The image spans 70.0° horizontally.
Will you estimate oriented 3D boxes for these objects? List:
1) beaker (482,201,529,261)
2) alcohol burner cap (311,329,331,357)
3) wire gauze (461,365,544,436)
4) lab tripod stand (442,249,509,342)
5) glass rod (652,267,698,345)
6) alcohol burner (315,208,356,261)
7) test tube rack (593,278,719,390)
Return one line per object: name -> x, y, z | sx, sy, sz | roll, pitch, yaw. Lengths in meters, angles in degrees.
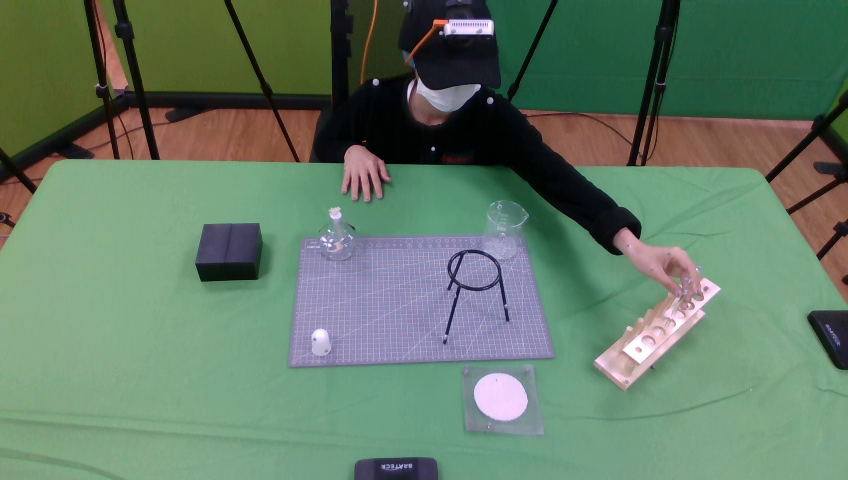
beaker -> 0.153, -0.015, 1.169 | 0.084, 0.101, 0.073 | -2, 46, -7
alcohol burner cap -> -0.173, 0.168, 1.004 | 0.034, 0.048, 0.033 | 2, 46, -2
wire gauze -> 0.124, 0.254, 0.973 | 0.125, 0.011, 0.120 | 3, 47, -3
lab tripod stand -> 0.082, 0.091, 1.036 | 0.148, 0.132, 0.147 | 3, 44, -3
glass rod -> 0.404, 0.114, 0.983 | 0.008, 0.200, 0.008 | 3, 44, -3
alcohol burner -> -0.166, -0.017, 1.135 | 0.078, 0.120, 0.077 | 2, 48, -2
test tube rack -> 0.401, 0.148, 1.043 | 0.242, 0.085, 0.066 | -30, 55, -29
